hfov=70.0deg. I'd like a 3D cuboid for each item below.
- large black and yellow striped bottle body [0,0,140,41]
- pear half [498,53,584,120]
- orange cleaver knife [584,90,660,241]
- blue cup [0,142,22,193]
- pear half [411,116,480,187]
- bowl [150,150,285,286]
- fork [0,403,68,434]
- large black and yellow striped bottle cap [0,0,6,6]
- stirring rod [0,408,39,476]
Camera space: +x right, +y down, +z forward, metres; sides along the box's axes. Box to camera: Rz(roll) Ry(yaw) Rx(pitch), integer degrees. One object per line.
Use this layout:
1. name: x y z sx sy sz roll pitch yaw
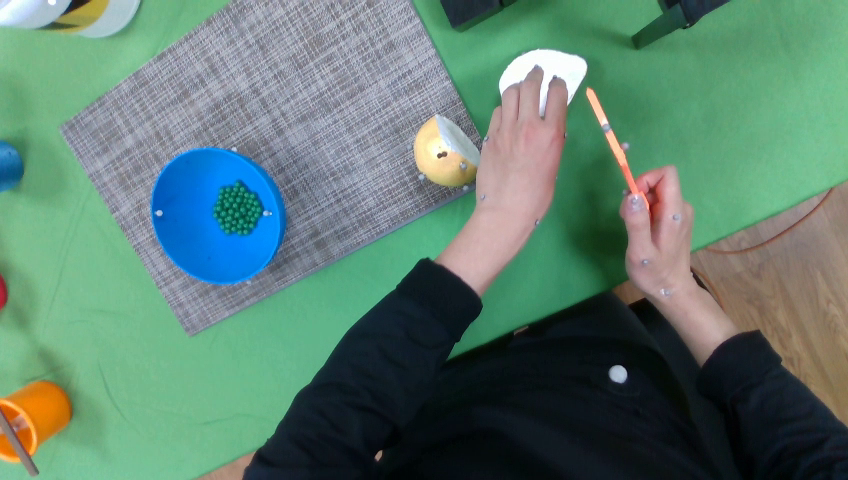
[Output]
1. large black and yellow striped bottle body: -0.395 -0.276 0.607 0.130 0.183 0.131 2 104 10
2. pear half: 0.119 -0.155 0.620 0.088 0.031 0.070 -22 84 1
3. orange cleaver knife: 0.181 -0.059 0.546 0.012 0.213 0.076 -27 58 18
4. blue cup: -0.548 -0.084 0.728 0.092 0.100 0.093 2 105 8
5. pear half: 0.015 -0.082 0.615 0.076 0.110 0.056 44 108 2
6. bowl: -0.220 -0.031 0.689 0.151 0.076 0.152 3 105 10
7. fork: -0.587 0.259 0.797 0.208 0.018 0.028 -17 115 -30
8. large black and yellow striped bottle cap: -0.410 -0.257 0.527 0.115 0.019 0.115 3 106 11
9. stirring rod: -0.546 0.229 0.780 0.014 0.006 0.176 -22 99 14
